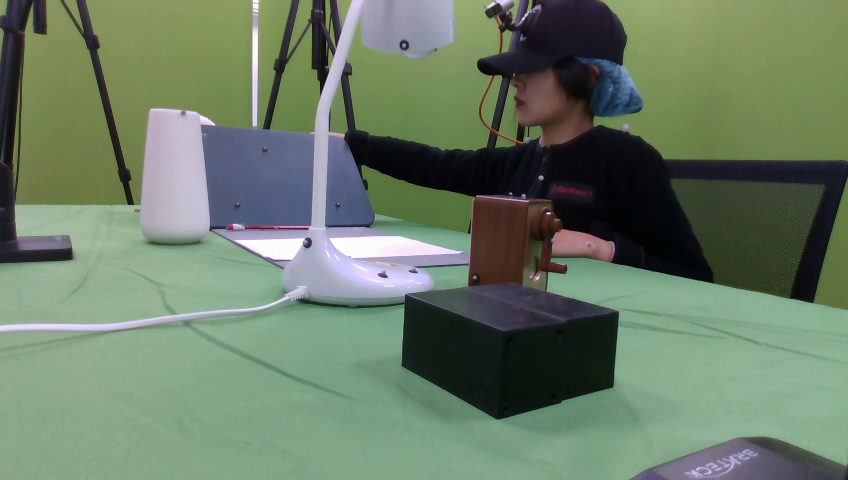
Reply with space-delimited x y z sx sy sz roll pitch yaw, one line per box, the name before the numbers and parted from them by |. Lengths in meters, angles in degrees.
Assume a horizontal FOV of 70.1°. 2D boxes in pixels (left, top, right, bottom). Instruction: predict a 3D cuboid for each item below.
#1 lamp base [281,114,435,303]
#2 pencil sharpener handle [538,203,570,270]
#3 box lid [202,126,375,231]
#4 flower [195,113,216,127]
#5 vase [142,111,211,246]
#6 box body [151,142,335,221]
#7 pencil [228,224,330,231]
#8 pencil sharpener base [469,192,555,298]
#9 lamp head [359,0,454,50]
lamp base | -0.071 -0.035 0.614 0.160 0.180 0.180 6 10 27
pencil sharpener handle | 0.137 -0.003 0.619 0.030 0.067 0.036 8 5 38
box lid | -0.293 -0.128 1.236 0.373 0.262 0.015 -2 -35 -32
flower | -0.368 -0.170 1.357 0.364 0.038 0.044 36 5 -44
vase | -0.378 -0.093 0.920 0.098 0.200 0.098 2 9 0
box body | -0.413 -0.134 1.379 0.366 0.160 0.253 -2 9 -31
pencil | -0.266 -0.024 1.124 0.195 0.012 0.012 -1 8 -33
pencil sharpener base | 0.097 0.003 0.652 0.076 0.107 0.061 8 9 38
lamp head | -0.024 -0.283 0.674 0.112 0.123 0.112 -3 38 3
